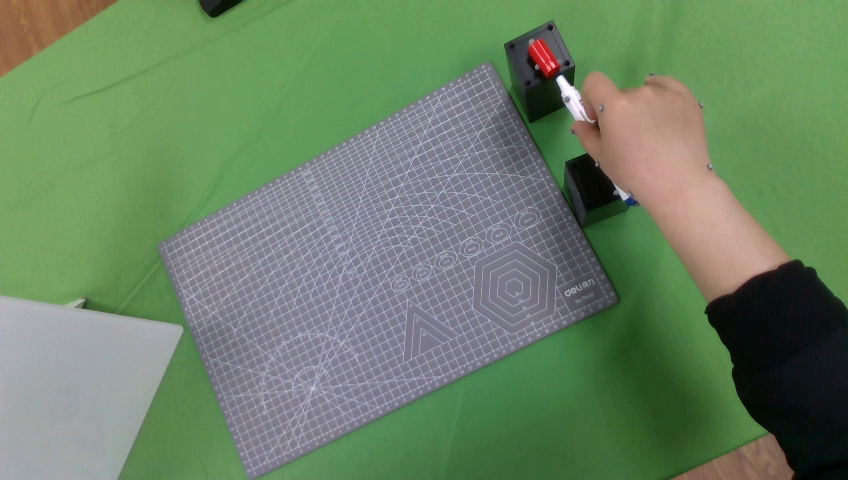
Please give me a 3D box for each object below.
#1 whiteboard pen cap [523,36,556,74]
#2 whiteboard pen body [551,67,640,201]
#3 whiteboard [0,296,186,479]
[{"bbox_3d":[0.106,-0.169,0.554,0.017,0.017,0.032,-33,80,7],"label":"whiteboard pen cap"},{"bbox_3d":[0.149,-0.096,0.537,0.017,0.017,0.140,-30,81,7],"label":"whiteboard pen body"},{"bbox_3d":[-0.450,0.140,0.624,0.142,0.308,0.217,24,89,33],"label":"whiteboard"}]
